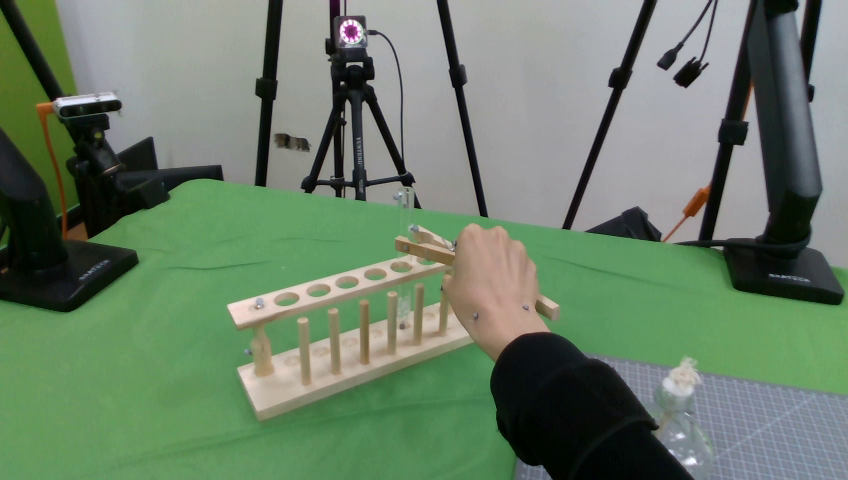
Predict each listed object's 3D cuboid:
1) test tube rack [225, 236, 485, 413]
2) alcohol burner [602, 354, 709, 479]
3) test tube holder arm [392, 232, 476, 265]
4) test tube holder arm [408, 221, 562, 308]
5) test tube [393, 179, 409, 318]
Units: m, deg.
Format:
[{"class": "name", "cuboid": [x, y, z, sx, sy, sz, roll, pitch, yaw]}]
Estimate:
[{"class": "test tube rack", "cuboid": [-0.057, 0.074, 0.586, 0.243, 0.086, 0.066, -15, 34, -26]}, {"class": "alcohol burner", "cuboid": [0.176, 0.134, 0.454, 0.078, 0.120, 0.077, 2, 28, -1]}, {"class": "test tube holder arm", "cuboid": [0.010, 0.008, 0.555, 0.087, 0.015, 0.010, 12, 39, 28]}, {"class": "test tube holder arm", "cuboid": [0.047, 0.017, 0.532, 0.013, 0.015, 0.176, -34, 42, -31]}, {"class": "test tube", "cuboid": [-0.023, 0.012, 0.595, 0.017, 0.151, 0.017, 1, 27, 0]}]
